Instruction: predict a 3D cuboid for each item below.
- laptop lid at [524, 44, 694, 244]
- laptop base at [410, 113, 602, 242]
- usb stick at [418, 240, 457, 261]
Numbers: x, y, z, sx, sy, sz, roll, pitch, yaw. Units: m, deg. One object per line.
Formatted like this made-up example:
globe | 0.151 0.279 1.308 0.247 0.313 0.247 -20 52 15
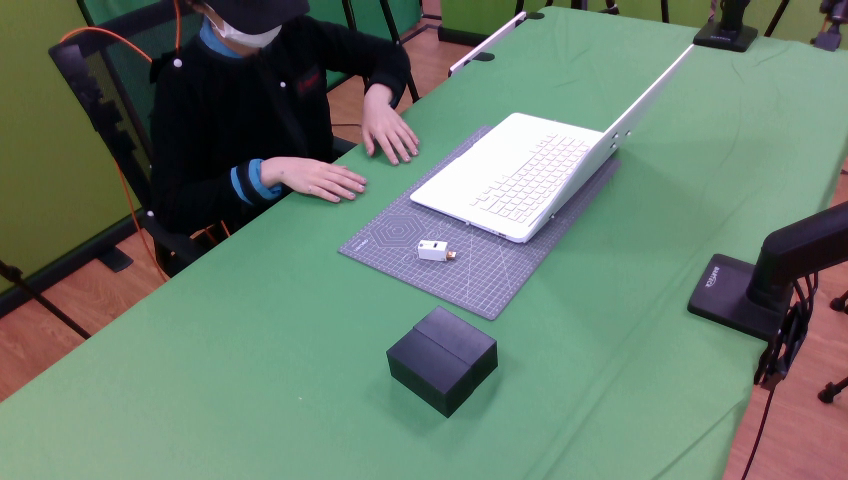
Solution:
laptop lid | 0.290 -0.151 0.941 0.013 0.241 0.358 40 54 12
laptop base | 0.171 -0.127 1.096 0.233 0.023 0.355 21 47 34
usb stick | 0.021 0.017 0.938 0.059 0.027 0.021 8 42 13
